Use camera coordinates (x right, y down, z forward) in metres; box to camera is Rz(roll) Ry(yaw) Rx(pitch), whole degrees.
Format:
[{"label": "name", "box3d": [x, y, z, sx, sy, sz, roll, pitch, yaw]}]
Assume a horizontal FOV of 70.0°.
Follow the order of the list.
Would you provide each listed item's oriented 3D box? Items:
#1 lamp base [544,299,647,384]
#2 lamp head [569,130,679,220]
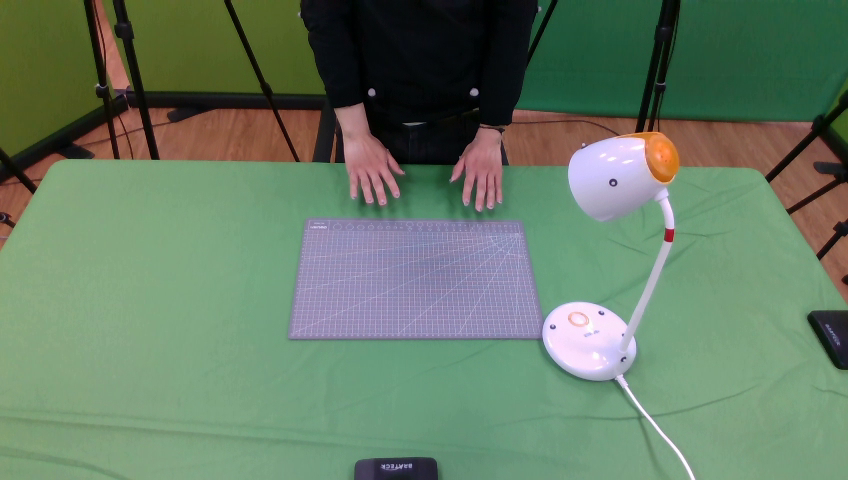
[{"label": "lamp base", "box3d": [0.299, 0.124, 0.984, 0.161, 0.181, 0.178, -23, 55, -23]}, {"label": "lamp head", "box3d": [0.272, -0.090, 0.798, 0.113, 0.122, 0.112, 7, 78, -33]}]
